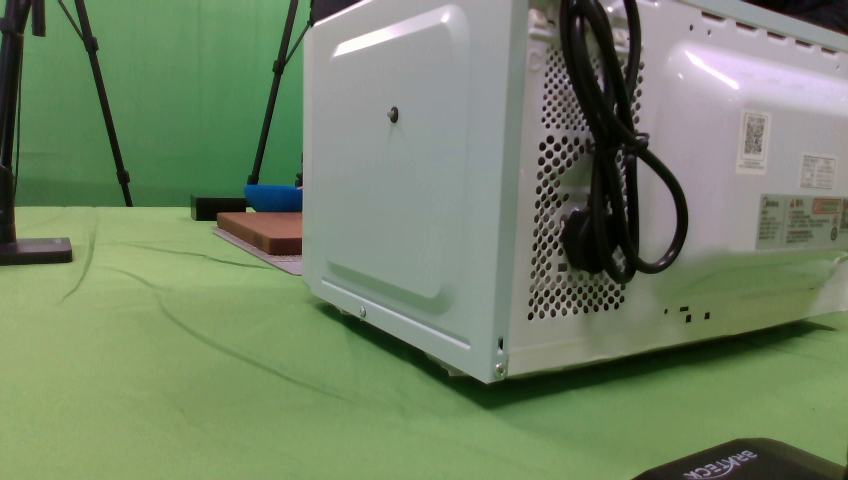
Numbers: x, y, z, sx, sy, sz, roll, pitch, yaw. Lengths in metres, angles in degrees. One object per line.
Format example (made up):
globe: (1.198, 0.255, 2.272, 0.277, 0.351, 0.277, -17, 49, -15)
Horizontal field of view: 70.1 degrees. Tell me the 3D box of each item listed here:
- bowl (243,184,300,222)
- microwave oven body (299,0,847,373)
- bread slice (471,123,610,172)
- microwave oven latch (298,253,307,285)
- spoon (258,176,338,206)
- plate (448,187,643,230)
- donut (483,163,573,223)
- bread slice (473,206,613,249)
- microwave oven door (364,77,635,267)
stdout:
bowl: (-0.322, -0.081, 1.334, 0.151, 0.077, 0.151, 3, 7, 0)
microwave oven body: (0.152, -0.055, 0.542, 0.444, 0.260, 0.324, -2, 7, -33)
bread slice: (0.133, -0.100, 0.658, 0.133, 0.018, 0.107, 22, 14, 34)
microwave oven latch: (-0.081, 0.027, 0.582, 0.079, 0.029, 0.030, -1, 7, -32)
spoon: (-0.279, -0.112, 1.356, 0.194, 0.021, 0.041, -27, 18, -27)
plate: (0.129, -0.035, 0.662, 0.208, 0.039, 0.207, 2, 5, 0)
donut: (0.112, -0.052, 0.657, 0.099, 0.048, 0.099, 13, -13, 3)
bread slice: (0.131, -0.012, 0.633, 0.105, 0.019, 0.131, 10, -13, -30)
microwave oven door: (0.091, -0.098, 0.823, 0.355, 0.243, 0.039, 4, 7, 15)
